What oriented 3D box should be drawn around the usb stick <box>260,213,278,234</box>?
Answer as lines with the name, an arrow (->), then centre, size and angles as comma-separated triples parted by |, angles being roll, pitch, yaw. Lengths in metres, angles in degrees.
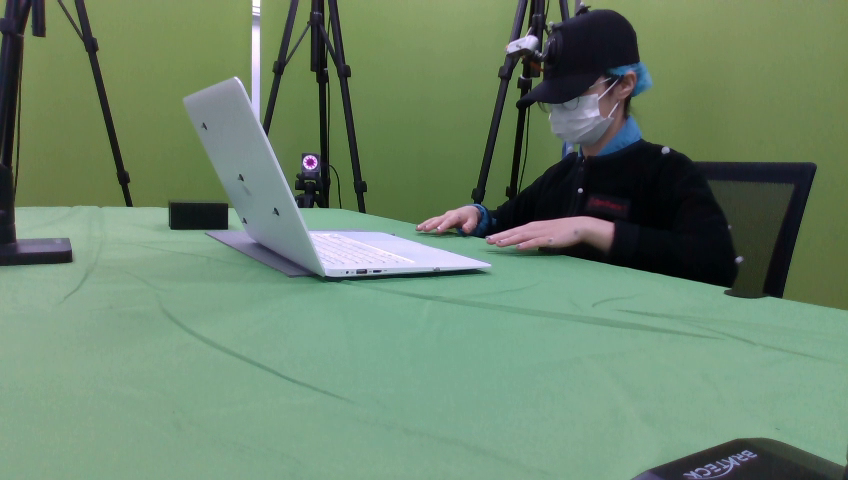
usb stick -> -0.260, -0.025, 1.016 | 0.021, 0.027, 0.059 | 1, 19, -27

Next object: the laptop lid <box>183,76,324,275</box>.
laptop lid -> -0.237, -0.085, 0.791 | 0.013, 0.242, 0.355 | -29, 23, -23

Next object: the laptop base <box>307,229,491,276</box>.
laptop base -> -0.094, 0.015, 0.888 | 0.237, 0.023, 0.352 | 2, 7, -30
